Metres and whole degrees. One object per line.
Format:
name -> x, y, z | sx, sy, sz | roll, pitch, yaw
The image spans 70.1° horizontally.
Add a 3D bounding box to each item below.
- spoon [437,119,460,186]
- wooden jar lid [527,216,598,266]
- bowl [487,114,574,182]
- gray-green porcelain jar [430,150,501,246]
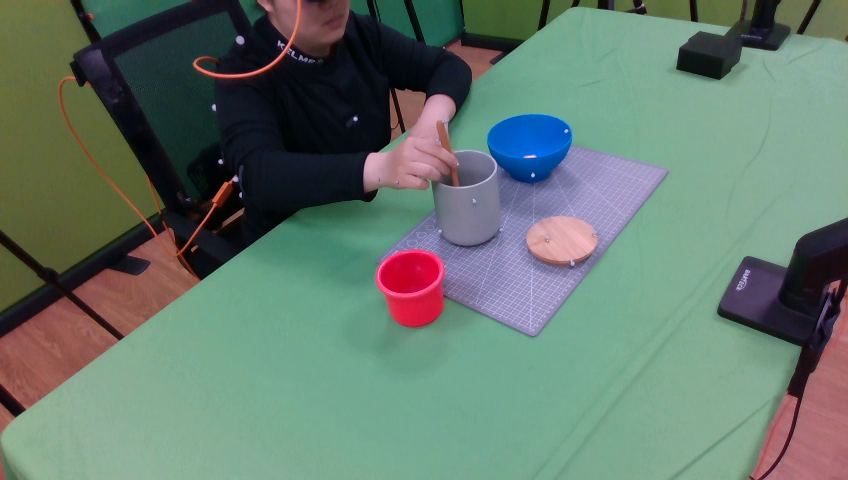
spoon -> 0.045, -0.094, 0.908 | 0.041, 0.194, 0.021 | 3, 36, 28
wooden jar lid -> 0.214, 0.003, 0.937 | 0.108, 0.021, 0.108 | -4, 40, 4
bowl -> 0.190, -0.156, 1.085 | 0.151, 0.077, 0.150 | -5, 40, 5
gray-green porcelain jar -> 0.069, -0.062, 0.959 | 0.106, 0.127, 0.105 | -5, 40, 5
